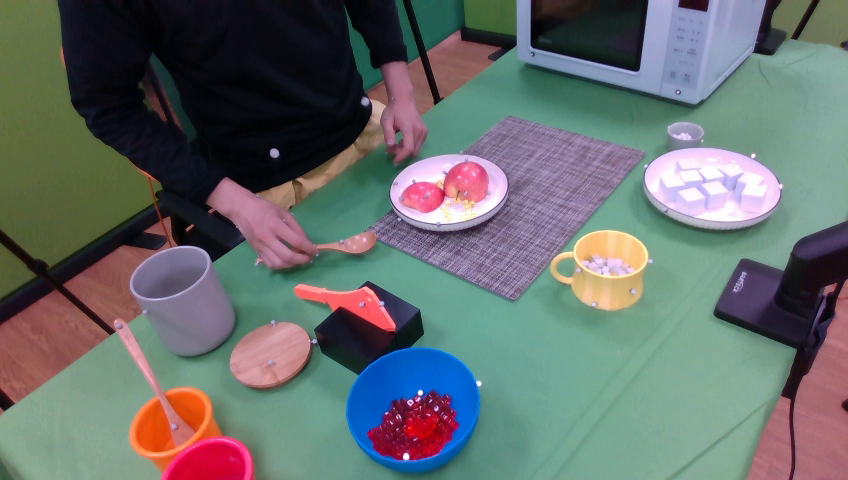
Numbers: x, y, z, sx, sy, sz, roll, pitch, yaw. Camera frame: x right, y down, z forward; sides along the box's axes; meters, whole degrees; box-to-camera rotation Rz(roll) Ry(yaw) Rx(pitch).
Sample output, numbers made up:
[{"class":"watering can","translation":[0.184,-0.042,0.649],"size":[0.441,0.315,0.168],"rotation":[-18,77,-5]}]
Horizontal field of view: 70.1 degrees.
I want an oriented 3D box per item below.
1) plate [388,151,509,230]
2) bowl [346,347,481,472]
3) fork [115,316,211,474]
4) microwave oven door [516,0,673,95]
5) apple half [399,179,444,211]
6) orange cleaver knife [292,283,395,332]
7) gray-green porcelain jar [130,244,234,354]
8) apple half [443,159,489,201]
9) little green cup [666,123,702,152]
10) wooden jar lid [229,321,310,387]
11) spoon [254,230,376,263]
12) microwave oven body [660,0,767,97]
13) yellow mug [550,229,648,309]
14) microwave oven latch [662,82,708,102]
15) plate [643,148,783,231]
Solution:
[{"class":"plate","translation":[0.043,-0.082,1.042],"size":[0.209,0.038,0.208],"rotation":[-4,40,4]},{"class":"bowl","translation":[-0.008,0.205,0.691],"size":[0.151,0.077,0.150],"rotation":[-4,40,4]},{"class":"fork","translation":[-0.308,0.179,0.708],"size":[0.028,0.018,0.207],"rotation":[-30,89,-22]},{"class":"microwave oven door","translation":[0.344,-0.458,1.256],"size":[0.353,0.245,0.039],"rotation":[26,51,33]},{"class":"apple half","translation":[-0.004,-0.088,1.045],"size":[0.081,0.033,0.081],"rotation":[-2,43,2]},{"class":"orange cleaver knife","translation":[-0.115,0.092,0.835],"size":[0.209,0.077,0.012],"rotation":[1,32,48]},{"class":"gray-green porcelain jar","translation":[-0.328,0.087,0.836],"size":[0.106,0.127,0.105],"rotation":[-4,41,4]},{"class":"apple half","translation":[0.074,-0.110,1.047],"size":[0.080,0.053,0.075],"rotation":[21,46,30]},{"class":"little green cup","translation":[0.472,-0.183,1.103],"size":[0.061,0.039,0.061],"rotation":[-5,41,5]},{"class":"wooden jar lid","translation":[-0.207,0.156,0.820],"size":[0.108,0.021,0.108],"rotation":[-3,39,3]},{"class":"spoon","translation":[-0.172,0.012,0.953],"size":[0.194,0.022,0.041],"rotation":[-8,55,-7]},{"class":"microwave oven body","translation":[0.473,-0.517,1.314],"size":[0.438,0.261,0.327],"rotation":[26,51,34]},{"class":"yellow mug","translation":[0.245,0.040,0.857],"size":[0.130,0.064,0.099],"rotation":[1,41,11]},{"class":"microwave oven latch","translation":[0.517,-0.298,1.203],"size":[0.078,0.029,0.030],"rotation":[28,52,35]},{"class":"plate","translation":[0.464,-0.080,0.986],"size":[0.207,0.039,0.206],"rotation":[-4,40,4]}]
